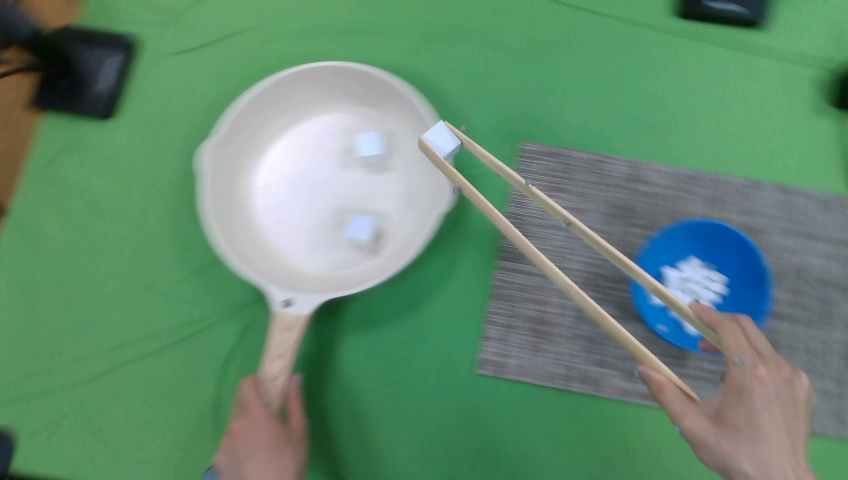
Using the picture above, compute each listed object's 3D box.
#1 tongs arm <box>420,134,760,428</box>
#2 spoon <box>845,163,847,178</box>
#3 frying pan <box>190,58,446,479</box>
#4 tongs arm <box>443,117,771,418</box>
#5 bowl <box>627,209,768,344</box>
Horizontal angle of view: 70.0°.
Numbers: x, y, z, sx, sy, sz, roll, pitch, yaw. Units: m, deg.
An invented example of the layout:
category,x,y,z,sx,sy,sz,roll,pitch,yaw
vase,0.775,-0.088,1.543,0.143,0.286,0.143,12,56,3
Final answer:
category,x,y,z,sx,sy,sz,roll,pitch,yaw
tongs arm,0.121,0.021,0.539,0.028,0.028,0.384,-37,64,-15
spoon,0.550,-0.170,0.734,0.041,0.022,0.194,22,101,30
frying pan,-0.143,0.021,0.705,0.306,0.103,0.485,10,70,4
tongs arm,0.138,0.008,0.543,0.050,0.027,0.381,-43,65,-14
bowl,0.301,0.047,0.698,0.151,0.077,0.150,0,78,1
